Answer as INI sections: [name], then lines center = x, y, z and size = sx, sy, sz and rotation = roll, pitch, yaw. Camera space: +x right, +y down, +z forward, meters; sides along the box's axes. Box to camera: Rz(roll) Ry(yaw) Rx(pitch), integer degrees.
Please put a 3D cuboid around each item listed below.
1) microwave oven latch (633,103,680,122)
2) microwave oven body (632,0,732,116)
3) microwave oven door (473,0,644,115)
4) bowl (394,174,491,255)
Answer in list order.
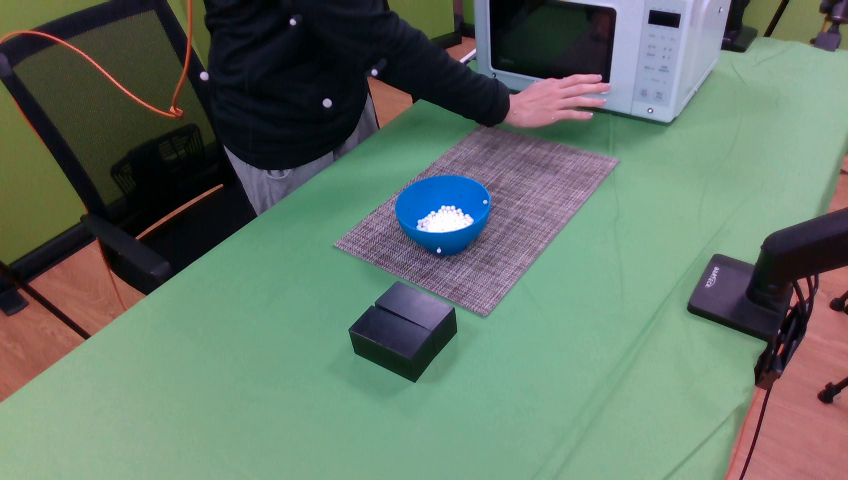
[microwave oven latch]
center = 0.443, -0.249, 1.157
size = 0.078, 0.029, 0.030
rotation = 21, 48, 30
[microwave oven body]
center = 0.377, -0.463, 1.267
size = 0.438, 0.261, 0.327
rotation = 21, 48, 30
[microwave oven door]
center = 0.257, -0.396, 1.199
size = 0.353, 0.245, 0.039
rotation = 21, 48, 29
[bowl]
center = 0.032, -0.030, 0.949
size = 0.151, 0.077, 0.150
rotation = -4, 40, 4
